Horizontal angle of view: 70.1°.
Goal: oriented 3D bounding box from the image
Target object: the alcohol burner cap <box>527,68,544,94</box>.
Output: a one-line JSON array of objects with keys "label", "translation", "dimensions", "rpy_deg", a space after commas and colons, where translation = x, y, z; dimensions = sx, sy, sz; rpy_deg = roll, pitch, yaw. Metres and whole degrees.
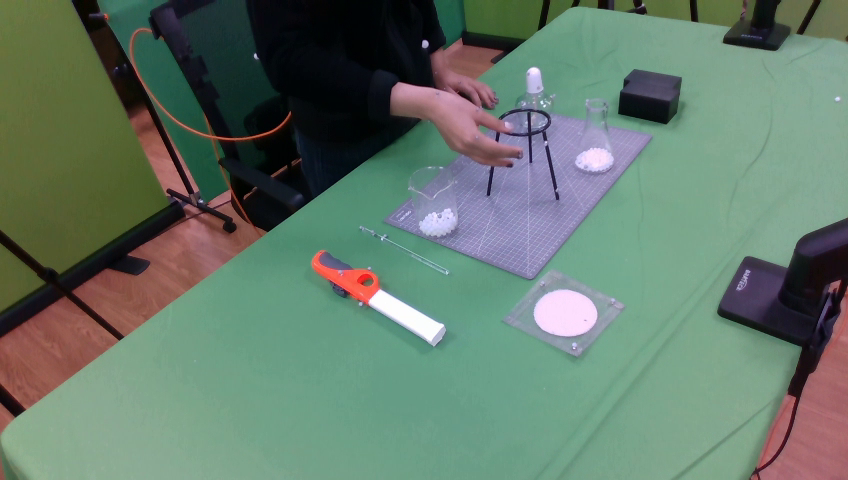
[{"label": "alcohol burner cap", "translation": [0.216, -0.312, 1.179], "dimensions": [0.034, 0.048, 0.033], "rpy_deg": [-10, 40, 9]}]

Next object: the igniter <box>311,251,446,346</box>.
[{"label": "igniter", "translation": [-0.078, 0.081, 0.899], "dimensions": [0.274, 0.025, 0.057], "rpy_deg": [27, 62, 36]}]

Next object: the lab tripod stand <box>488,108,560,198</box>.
[{"label": "lab tripod stand", "translation": [0.173, -0.150, 1.037], "dimensions": [0.148, 0.132, 0.147], "rpy_deg": [-7, 38, 6]}]

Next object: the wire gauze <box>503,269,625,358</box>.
[{"label": "wire gauze", "translation": [0.194, 0.100, 0.840], "dimensions": [0.120, 0.011, 0.125], "rpy_deg": [27, 54, 36]}]

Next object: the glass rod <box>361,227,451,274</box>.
[{"label": "glass rod", "translation": [-0.033, 0.014, 0.985], "dimensions": [0.198, 0.008, 0.008], "rpy_deg": [25, 52, 34]}]

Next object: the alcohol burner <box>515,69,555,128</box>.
[{"label": "alcohol burner", "translation": [0.221, -0.285, 1.203], "dimensions": [0.078, 0.119, 0.077], "rpy_deg": [-4, 39, 4]}]

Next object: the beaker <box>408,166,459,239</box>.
[{"label": "beaker", "translation": [0.018, -0.057, 0.984], "dimensions": [0.074, 0.101, 0.083], "rpy_deg": [-6, 41, 5]}]

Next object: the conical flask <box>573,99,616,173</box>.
[{"label": "conical flask", "translation": [0.302, -0.184, 1.061], "dimensions": [0.075, 0.122, 0.075], "rpy_deg": [-5, 40, 5]}]
